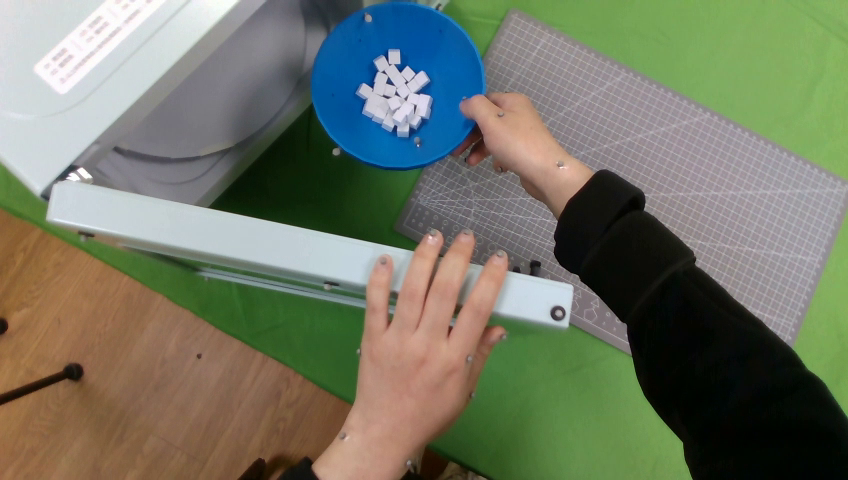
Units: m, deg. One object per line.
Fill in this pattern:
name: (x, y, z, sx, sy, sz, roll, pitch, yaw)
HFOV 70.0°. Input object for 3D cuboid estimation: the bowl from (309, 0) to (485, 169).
bowl: (-0.023, -0.130, 0.553, 0.151, 0.077, 0.151, 0, 82, -1)

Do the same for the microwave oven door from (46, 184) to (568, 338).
microwave oven door: (-0.080, 0.028, 0.517, 0.356, 0.244, 0.039, 12, 79, -1)

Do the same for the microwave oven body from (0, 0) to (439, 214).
microwave oven body: (-0.214, -0.258, 0.559, 0.325, 0.260, 0.441, 42, 82, 3)

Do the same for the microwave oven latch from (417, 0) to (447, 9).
microwave oven latch: (0.010, -0.273, 0.673, 0.030, 0.029, 0.079, 43, 82, 4)
